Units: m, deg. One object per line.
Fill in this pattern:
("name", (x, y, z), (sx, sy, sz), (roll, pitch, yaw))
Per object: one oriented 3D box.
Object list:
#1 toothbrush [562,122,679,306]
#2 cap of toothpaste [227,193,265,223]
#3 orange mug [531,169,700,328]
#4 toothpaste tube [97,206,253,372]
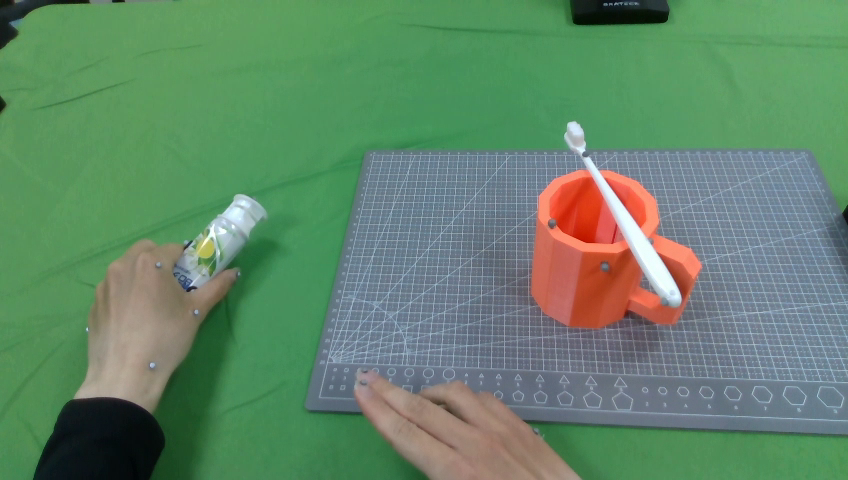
("toothbrush", (0.137, -0.027, 0.435), (0.014, 0.017, 0.180), (-11, 49, -7))
("cap of toothpaste", (-0.164, -0.028, 0.556), (0.037, 0.038, 0.011), (15, 57, 18))
("orange mug", (0.143, 0.014, 0.468), (0.125, 0.102, 0.083), (25, 56, 30))
("toothpaste tube", (-0.206, 0.032, 0.522), (0.054, 0.035, 0.164), (22, 62, 22))
